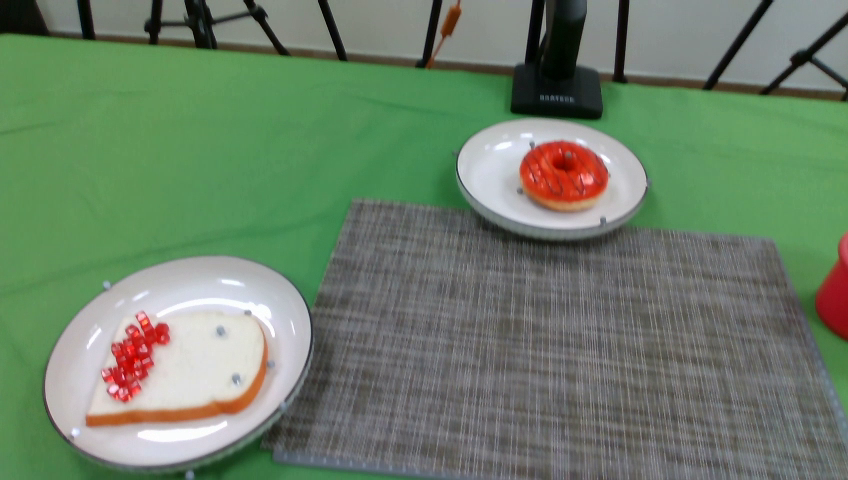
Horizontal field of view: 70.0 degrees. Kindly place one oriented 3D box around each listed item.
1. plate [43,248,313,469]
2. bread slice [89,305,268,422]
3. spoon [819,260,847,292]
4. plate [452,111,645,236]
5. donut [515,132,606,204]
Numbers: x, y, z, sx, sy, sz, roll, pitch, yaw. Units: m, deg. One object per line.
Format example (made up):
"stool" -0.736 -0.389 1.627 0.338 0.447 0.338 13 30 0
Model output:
"plate" -0.195 0.092 0.503 0.209 0.038 0.207 1 46 0
"bread slice" -0.196 0.096 0.502 0.132 0.019 0.104 -3 46 -4
"spoon" 0.439 0.019 0.507 0.193 0.022 0.041 -14 25 46
"plate" 0.134 -0.072 0.670 0.208 0.039 0.205 1 43 -1
"donut" 0.148 -0.078 0.660 0.099 0.048 0.098 1 46 -1
